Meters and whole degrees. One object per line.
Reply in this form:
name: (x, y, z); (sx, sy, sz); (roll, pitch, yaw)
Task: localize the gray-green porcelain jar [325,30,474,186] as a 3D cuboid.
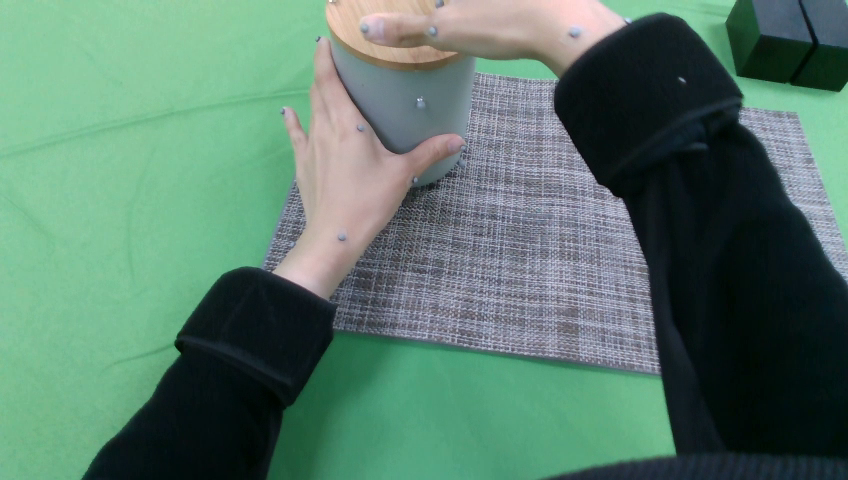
gray-green porcelain jar: (-0.020, -0.113, 0.467); (0.106, 0.127, 0.105); (2, 53, -2)

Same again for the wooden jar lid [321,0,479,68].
wooden jar lid: (-0.016, -0.152, 0.418); (0.108, 0.021, 0.107); (2, 56, -3)
